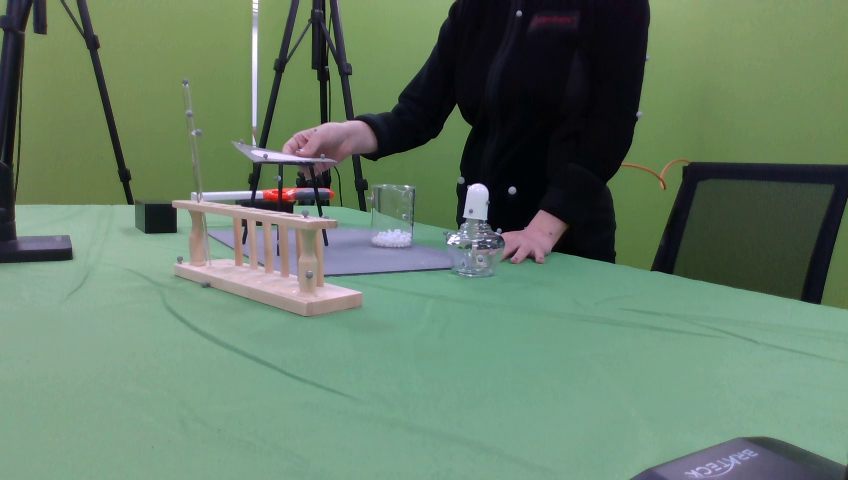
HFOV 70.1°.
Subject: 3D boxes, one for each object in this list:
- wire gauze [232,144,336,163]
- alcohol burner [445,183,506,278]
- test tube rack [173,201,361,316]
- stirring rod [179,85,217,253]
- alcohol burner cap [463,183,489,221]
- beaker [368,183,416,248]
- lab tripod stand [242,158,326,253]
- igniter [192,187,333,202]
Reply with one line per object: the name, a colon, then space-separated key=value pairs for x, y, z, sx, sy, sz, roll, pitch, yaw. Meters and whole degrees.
wire gauze: x=-0.206 y=-0.123 z=0.885 sx=0.122 sy=0.011 sz=0.124 roll=2 pitch=13 yaw=-34
alcohol burner: x=0.066 y=-0.013 z=0.770 sx=0.078 sy=0.119 sz=0.078 roll=0 pitch=7 yaw=0
test tube rack: x=-0.169 y=0.010 z=0.622 sx=0.241 sy=0.085 sz=0.067 roll=9 pitch=10 yaw=41
stirring rod: x=-0.237 y=-0.073 z=0.634 sx=0.006 sy=0.176 sz=0.014 roll=0 pitch=9 yaw=41
alcohol burner cap: x=0.067 y=-0.048 z=0.765 sx=0.034 sy=0.048 sz=0.034 roll=5 pitch=5 yaw=0
beaker: x=-0.050 y=-0.039 z=0.971 sx=0.074 sy=0.100 sz=0.083 roll=-1 pitch=9 yaw=-25
lab tripod stand: x=-0.207 y=-0.054 z=0.895 sx=0.148 sy=0.131 sz=0.148 roll=3 pitch=5 yaw=0
igniter: x=-0.316 y=-0.090 z=1.213 sx=0.278 sy=0.025 sz=0.057 roll=-5 pitch=12 yaw=-31
